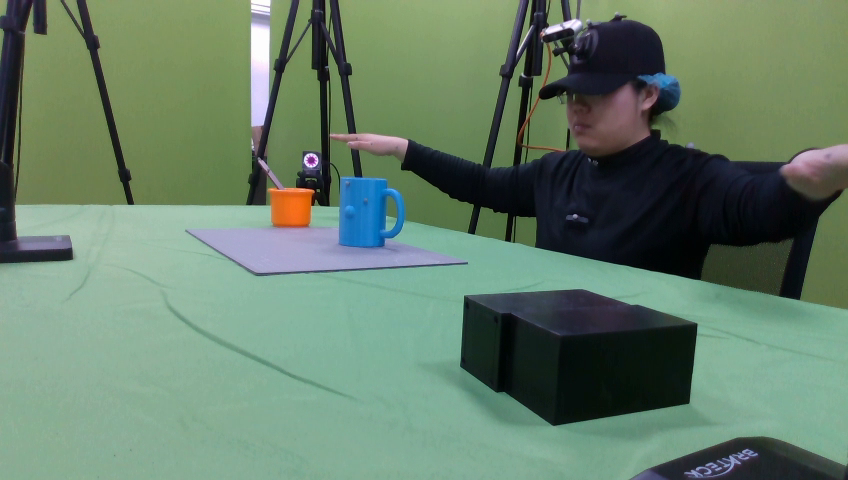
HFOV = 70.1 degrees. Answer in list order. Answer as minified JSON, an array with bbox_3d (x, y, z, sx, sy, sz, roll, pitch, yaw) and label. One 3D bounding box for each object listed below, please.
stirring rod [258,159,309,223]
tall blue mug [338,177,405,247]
[{"bbox_3d":[-0.287,-0.101,1.233,0.175,0.006,0.014,51,32,16],"label":"stirring rod"},{"bbox_3d":[-0.083,-0.046,0.977,0.107,0.108,0.078,2,6,-1],"label":"tall blue mug"}]
